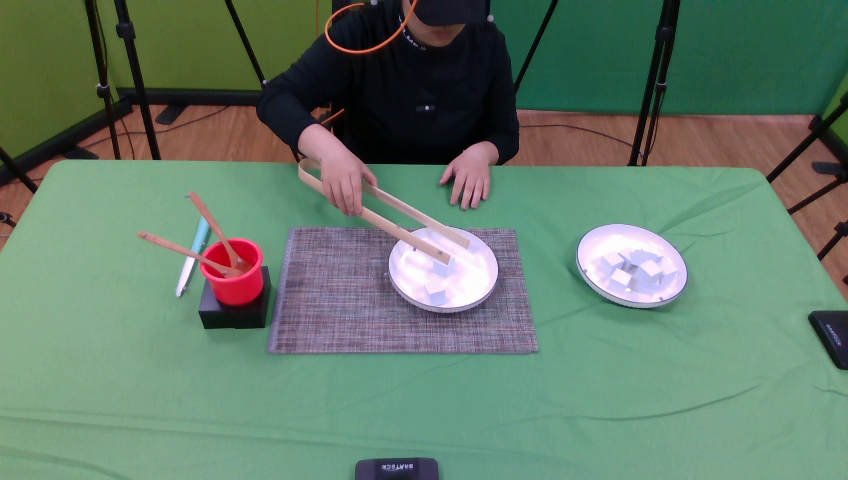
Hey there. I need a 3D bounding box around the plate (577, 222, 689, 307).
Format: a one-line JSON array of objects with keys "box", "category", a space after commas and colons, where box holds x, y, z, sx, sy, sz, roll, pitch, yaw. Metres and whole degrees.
[{"box": [0.396, 0.050, 1.165, 0.209, 0.038, 0.208, 2, 47, -2], "category": "plate"}]

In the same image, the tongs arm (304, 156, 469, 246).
[{"box": [-0.080, -0.080, 1.194, 0.386, 0.028, 0.028, 28, 48, 18], "category": "tongs arm"}]

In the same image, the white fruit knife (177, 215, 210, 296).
[{"box": [-0.435, 0.025, 1.148, 0.027, 0.016, 0.206, -18, 45, 18], "category": "white fruit knife"}]

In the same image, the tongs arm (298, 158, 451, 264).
[{"box": [-0.102, -0.061, 1.166, 0.383, 0.026, 0.050, 28, 45, 19], "category": "tongs arm"}]

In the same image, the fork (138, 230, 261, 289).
[{"box": [-0.360, 0.032, 0.981, 0.208, 0.018, 0.028, 31, 60, -30], "category": "fork"}]

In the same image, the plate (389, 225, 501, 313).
[{"box": [0.038, 0.057, 1.129, 0.208, 0.039, 0.206, 2, 46, -2], "category": "plate"}]

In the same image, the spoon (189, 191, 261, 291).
[{"box": [-0.333, 0.001, 1.012, 0.041, 0.194, 0.021, -34, 15, -25], "category": "spoon"}]
